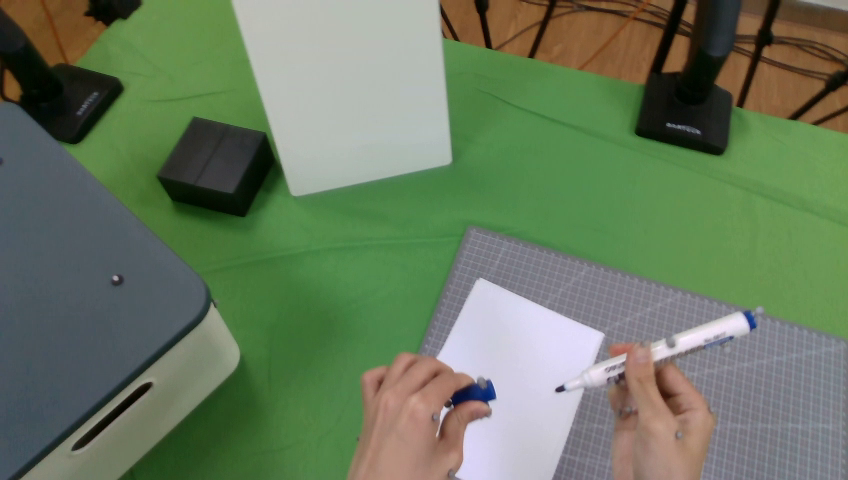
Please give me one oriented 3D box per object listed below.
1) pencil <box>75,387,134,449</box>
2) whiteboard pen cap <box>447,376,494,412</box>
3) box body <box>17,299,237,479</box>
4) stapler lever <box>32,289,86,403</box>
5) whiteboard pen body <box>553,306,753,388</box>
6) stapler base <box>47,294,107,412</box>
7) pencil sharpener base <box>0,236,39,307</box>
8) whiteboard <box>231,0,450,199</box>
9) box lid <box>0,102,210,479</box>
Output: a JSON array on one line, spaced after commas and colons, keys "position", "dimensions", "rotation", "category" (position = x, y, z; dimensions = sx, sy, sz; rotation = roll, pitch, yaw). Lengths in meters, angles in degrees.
[{"position": [-0.307, 0.150, 0.641], "dimensions": [0.012, 0.012, 0.193], "rotation": [19, 51, 12], "category": "pencil"}, {"position": [0.034, 0.112, 0.441], "dimensions": [0.033, 0.018, 0.018], "rotation": [-24, 60, 3], "category": "whiteboard pen cap"}, {"position": [-0.400, 0.069, 0.610], "dimensions": [0.361, 0.162, 0.253], "rotation": [37, 66, 20], "category": "box body"}, {"position": [-0.385, 0.107, 0.631], "dimensions": [0.027, 0.040, 0.117], "rotation": [-10, 60, 17], "category": "stapler lever"}, {"position": [0.155, 0.077, 0.419], "dimensions": [0.141, 0.017, 0.017], "rotation": [-23, 59, 10], "category": "whiteboard pen body"}, {"position": [-0.378, 0.116, 0.651], "dimensions": [0.041, 0.025, 0.129], "rotation": [-10, 62, 17], "category": "stapler base"}, {"position": [-0.495, 0.024, 0.661], "dimensions": [0.061, 0.108, 0.076], "rotation": [29, 64, 18], "category": "pencil sharpener base"}, {"position": [-0.098, -0.235, 0.744], "dimensions": [0.217, 0.308, 0.142], "rotation": [-12, 40, -7], "category": "whiteboard"}, {"position": [-0.402, 0.030, 0.547], "dimensions": [0.369, 0.015, 0.263], "rotation": [37, 66, 19], "category": "box lid"}]
